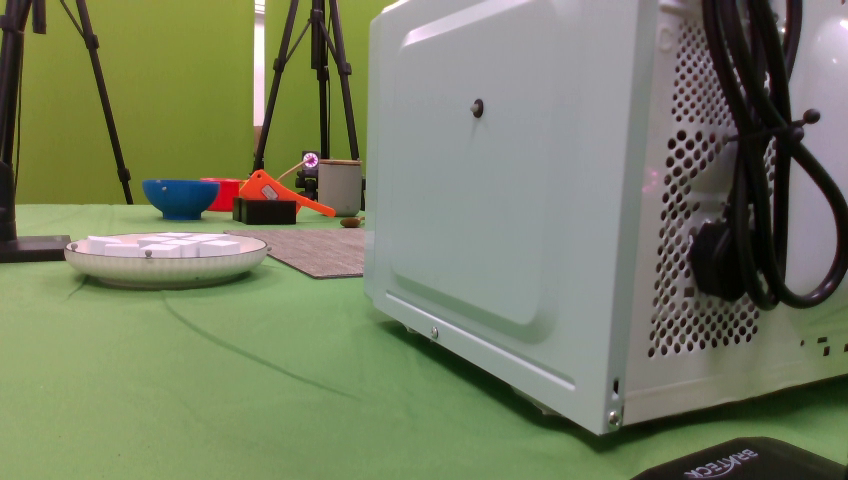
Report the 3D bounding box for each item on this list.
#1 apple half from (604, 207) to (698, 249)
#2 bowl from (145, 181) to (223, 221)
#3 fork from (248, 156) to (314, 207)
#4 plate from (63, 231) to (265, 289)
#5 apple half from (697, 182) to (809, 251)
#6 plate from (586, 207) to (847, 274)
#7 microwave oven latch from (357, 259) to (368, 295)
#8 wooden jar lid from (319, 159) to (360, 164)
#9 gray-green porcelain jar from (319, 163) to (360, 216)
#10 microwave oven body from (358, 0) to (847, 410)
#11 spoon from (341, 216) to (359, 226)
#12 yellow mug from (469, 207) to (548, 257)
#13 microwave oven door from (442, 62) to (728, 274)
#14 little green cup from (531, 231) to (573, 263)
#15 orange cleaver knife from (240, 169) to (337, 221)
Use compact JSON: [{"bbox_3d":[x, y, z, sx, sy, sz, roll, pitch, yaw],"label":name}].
[{"bbox_3d":[0.207,-0.013,0.543,0.081,0.033,0.081,4,10,0],"label":"apple half"},{"bbox_3d":[-0.499,-0.081,1.261,0.151,0.077,0.151,2,8,0],"label":"bowl"},{"bbox_3d":[-0.360,-0.147,1.523,0.207,0.019,0.028,-43,18,-6],"label":"fork"},{"bbox_3d":[-0.288,0.021,0.687,0.208,0.039,0.207,2,8,0],"label":"plate"},{"bbox_3d":[0.280,-0.021,0.512,0.075,0.053,0.080,12,-9,-17],"label":"apple half"},{"bbox_3d":[0.245,-0.002,0.516,0.209,0.038,0.209,2,7,0],"label":"plate"},{"bbox_3d":[-0.019,0.031,0.530,0.079,0.029,0.030,-1,7,-27],"label":"microwave oven latch"},{"bbox_3d":[-0.203,-0.189,1.482,0.108,0.020,0.108,2,10,0],"label":"wooden jar lid"},{"bbox_3d":[-0.205,-0.126,1.490,0.106,0.126,0.106,1,8,0],"label":"gray-green porcelain jar"},{"bbox_3d":[0.210,-0.051,0.471,0.444,0.260,0.324,-1,7,-28],"label":"microwave oven body"},{"bbox_3d":[-0.132,-0.048,1.305,0.041,0.021,0.194,-16,3,14],"label":"spoon"},{"bbox_3d":[0.138,-0.014,0.952,0.131,0.064,0.099,1,9,-22],"label":"yellow mug"},{"bbox_3d":[0.188,-0.096,0.783,0.354,0.243,0.039,6,9,30],"label":"microwave oven door"},{"bbox_3d":[0.185,0.009,0.879,0.061,0.038,0.061,2,8,0],"label":"little green cup"},{"bbox_3d":[-0.287,-0.082,1.298,0.212,0.077,0.012,25,-2,-31],"label":"orange cleaver knife"}]
